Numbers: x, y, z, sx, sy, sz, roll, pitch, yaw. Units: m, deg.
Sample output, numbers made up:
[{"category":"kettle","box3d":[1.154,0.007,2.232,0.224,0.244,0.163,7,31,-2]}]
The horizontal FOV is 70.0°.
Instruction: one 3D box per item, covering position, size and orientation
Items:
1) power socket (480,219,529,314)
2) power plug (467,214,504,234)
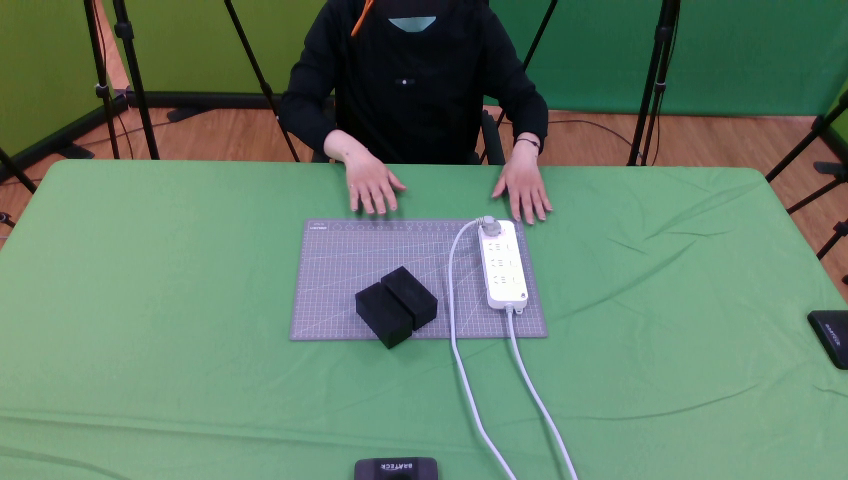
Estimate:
[{"category":"power socket","box3d":[0.151,0.040,1.152,0.072,0.033,0.225,0,47,-3]},{"category":"power plug","box3d":[0.120,-0.030,1.185,0.072,0.053,0.035,8,47,5]}]
